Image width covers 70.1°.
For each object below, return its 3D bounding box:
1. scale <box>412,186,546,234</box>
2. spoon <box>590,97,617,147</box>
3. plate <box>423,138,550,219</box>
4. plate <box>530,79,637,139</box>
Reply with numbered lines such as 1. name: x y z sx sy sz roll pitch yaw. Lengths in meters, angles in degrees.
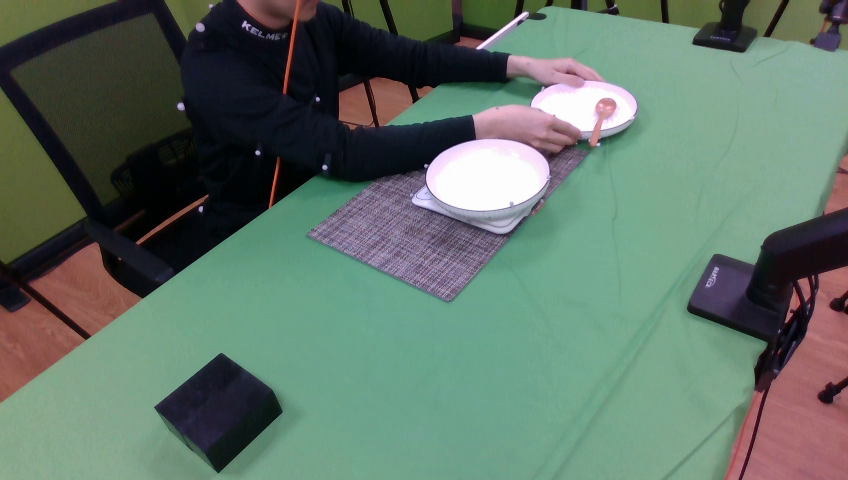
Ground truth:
1. scale: 0.093 -0.083 1.038 0.199 0.032 0.149 22 48 30
2. spoon: 0.334 -0.226 1.146 0.041 0.022 0.194 10 36 20
3. plate: 0.104 -0.099 1.005 0.207 0.039 0.206 -4 41 4
4. plate: 0.316 -0.258 1.210 0.209 0.038 0.208 -4 41 4
